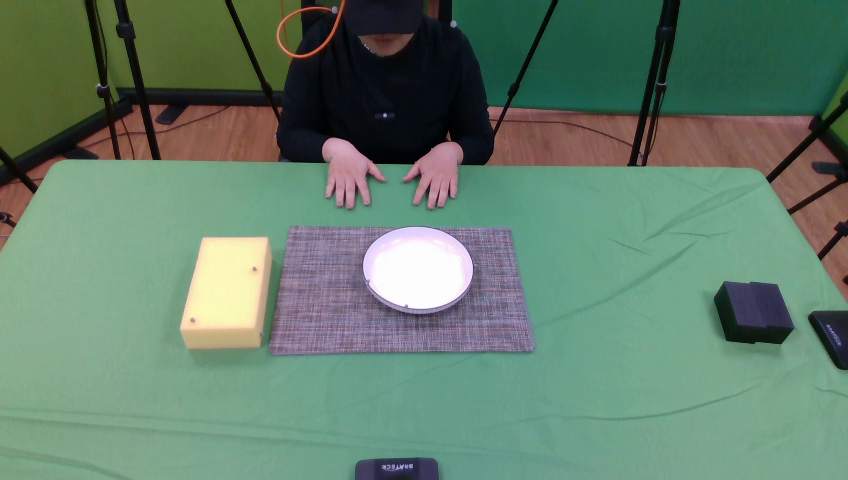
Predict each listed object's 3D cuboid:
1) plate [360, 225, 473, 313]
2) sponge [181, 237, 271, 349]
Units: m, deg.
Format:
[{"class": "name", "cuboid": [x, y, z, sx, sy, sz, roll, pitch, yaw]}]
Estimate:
[{"class": "plate", "cuboid": [-0.014, 0.057, 1.126, 0.208, 0.039, 0.206, 2, 46, -2]}, {"class": "sponge", "cuboid": [-0.341, 0.088, 1.062, 0.118, 0.061, 0.205, -2, 46, -6]}]
